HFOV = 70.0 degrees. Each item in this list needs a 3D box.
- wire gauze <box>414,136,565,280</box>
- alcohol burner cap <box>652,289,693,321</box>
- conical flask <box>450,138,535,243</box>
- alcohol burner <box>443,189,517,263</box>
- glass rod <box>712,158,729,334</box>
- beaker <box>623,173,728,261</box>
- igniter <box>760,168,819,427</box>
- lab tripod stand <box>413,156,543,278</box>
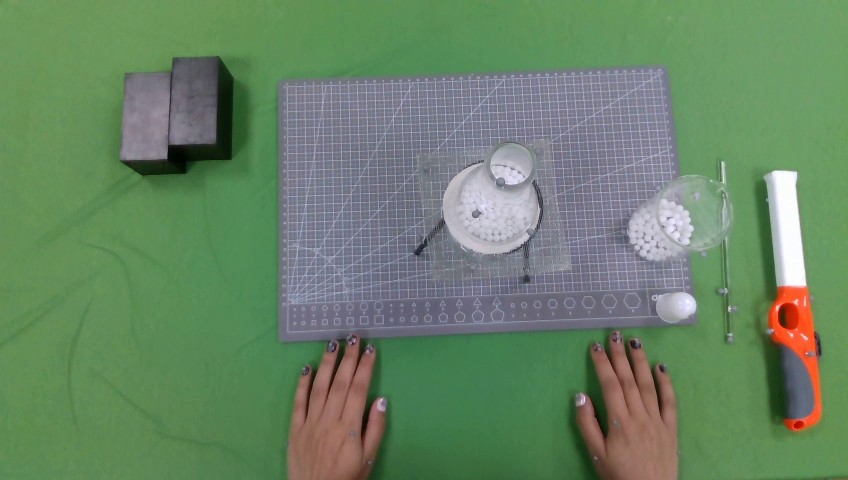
[{"bbox_3d":[0.058,-0.028,0.540,0.125,0.011,0.121,-6,82,-4],"label":"wire gauze"},{"bbox_3d":[0.264,0.067,0.638,0.034,0.048,0.033,0,79,0],"label":"alcohol burner cap"},{"bbox_3d":[0.060,-0.044,0.482,0.075,0.122,0.075,0,79,1],"label":"conical flask"},{"bbox_3d":[0.058,-0.018,0.615,0.078,0.119,0.077,0,78,1],"label":"alcohol burner"},{"bbox_3d":[0.328,0.003,0.671,0.008,0.008,0.199,2,79,0],"label":"glass rod"},{"bbox_3d":[0.256,-0.021,0.624,0.084,0.100,0.074,-39,82,-7],"label":"beaker"},{"bbox_3d":[0.390,0.058,0.651,0.057,0.025,0.275,2,80,-10],"label":"igniter"},{"bbox_3d":[0.058,-0.018,0.605,0.148,0.132,0.148,0,81,0],"label":"lab tripod stand"}]
